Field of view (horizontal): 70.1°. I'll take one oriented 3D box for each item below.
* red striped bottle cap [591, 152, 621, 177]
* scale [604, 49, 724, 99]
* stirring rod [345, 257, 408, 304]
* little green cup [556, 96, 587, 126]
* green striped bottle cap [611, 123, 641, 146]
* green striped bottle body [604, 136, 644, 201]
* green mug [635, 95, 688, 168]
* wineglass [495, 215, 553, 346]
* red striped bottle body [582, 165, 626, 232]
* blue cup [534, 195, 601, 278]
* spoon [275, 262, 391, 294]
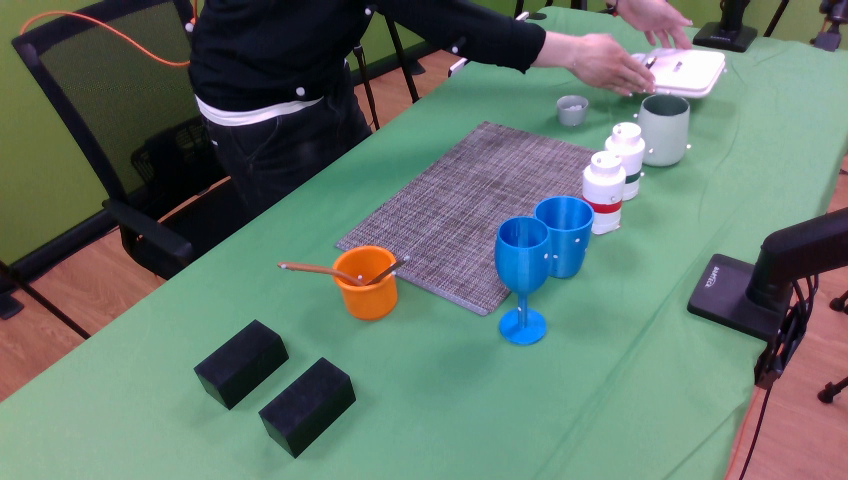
[{"bbox_3d":[0.273,-0.114,0.907,0.044,0.018,0.044,-5,39,5],"label":"red striped bottle cap"},{"bbox_3d":[0.478,-0.335,1.210,0.199,0.032,0.149,16,48,32],"label":"scale"},{"bbox_3d":[-0.067,0.057,0.815,0.014,0.175,0.006,-25,82,-38],"label":"stirring rod"},{"bbox_3d":[0.295,-0.257,1.214,0.061,0.039,0.061,-4,41,4],"label":"little green cup"},{"bbox_3d":[0.322,-0.168,0.963,0.044,0.020,0.044,-5,41,4],"label":"green striped bottle cap"},{"bbox_3d":[0.326,-0.128,0.997,0.063,0.120,0.063,-4,41,4],"label":"green striped bottle body"},{"bbox_3d":[0.421,-0.201,1.080,0.092,0.105,0.125,6,42,15],"label":"green mug"},{"bbox_3d":[0.127,0.054,0.770,0.074,0.173,0.073,-4,40,4],"label":"wineglass"},{"bbox_3d":[0.279,-0.075,0.942,0.063,0.120,0.062,-4,41,4],"label":"red striped bottle body"},{"bbox_3d":[0.201,0.000,0.879,0.092,0.100,0.092,-3,39,3],"label":"blue cup"},{"bbox_3d":[-0.120,0.050,0.830,0.041,0.195,0.021,31,96,45],"label":"spoon"}]
